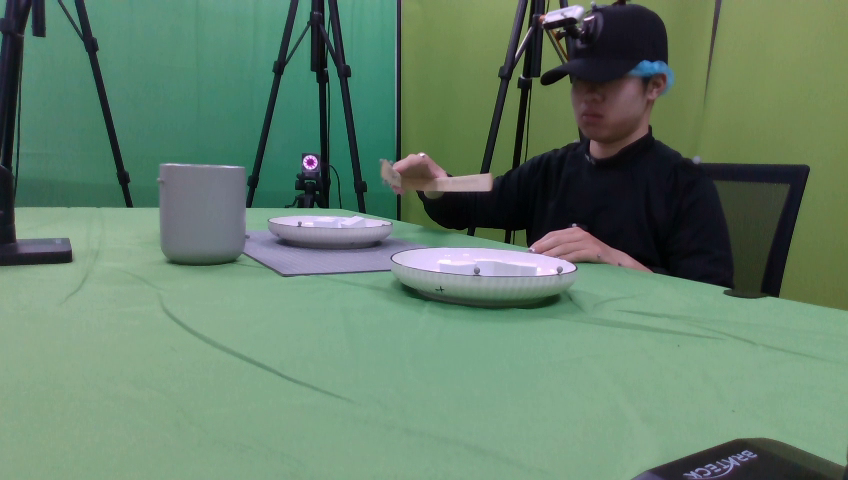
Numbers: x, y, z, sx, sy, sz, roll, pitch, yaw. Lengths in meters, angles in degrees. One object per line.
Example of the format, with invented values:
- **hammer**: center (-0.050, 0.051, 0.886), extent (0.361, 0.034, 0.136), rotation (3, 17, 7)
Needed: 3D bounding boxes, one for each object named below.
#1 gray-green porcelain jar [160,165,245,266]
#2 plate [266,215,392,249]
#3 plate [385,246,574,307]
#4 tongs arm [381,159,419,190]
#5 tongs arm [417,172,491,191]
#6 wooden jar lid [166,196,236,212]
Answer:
- **gray-green porcelain jar**: center (-0.291, -0.034, 0.799), extent (0.106, 0.126, 0.106), rotation (2, 8, 0)
- **plate**: center (-0.159, -0.015, 1.019), extent (0.209, 0.038, 0.209), rotation (3, 7, 0)
- **plate**: center (0.060, 0.041, 0.678), extent (0.208, 0.039, 0.207), rotation (3, 7, 0)
- **tongs arm**: center (-0.034, -0.102, 0.991), extent (0.051, 0.026, 0.384), rotation (4, 3, -1)
- **tongs arm**: center (0.043, -0.094, 0.999), extent (0.028, 0.028, 0.386), rotation (0, 4, -13)
- **wooden jar lid**: center (-0.369, -0.060, 1.001), extent (0.108, 0.020, 0.108), rotation (3, 6, 0)
